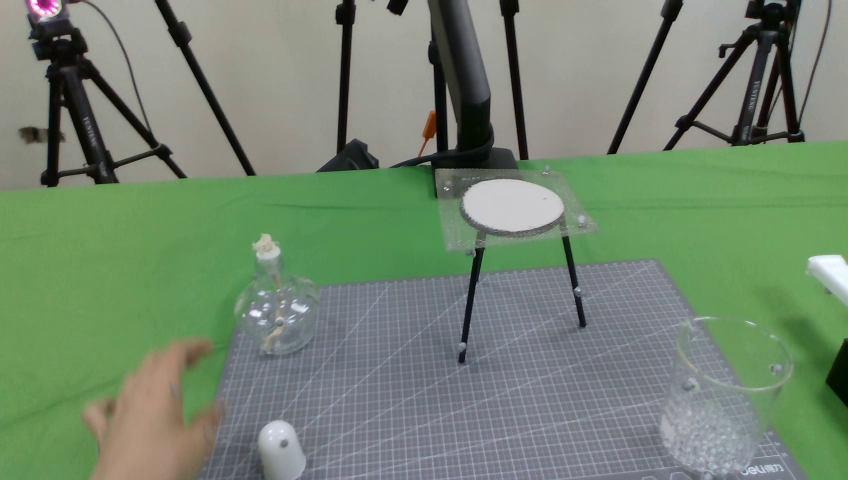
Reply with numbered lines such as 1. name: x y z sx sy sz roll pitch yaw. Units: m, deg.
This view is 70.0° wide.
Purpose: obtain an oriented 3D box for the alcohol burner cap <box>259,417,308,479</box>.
1. alcohol burner cap: -0.107 0.153 0.454 0.034 0.048 0.033 -1 35 1

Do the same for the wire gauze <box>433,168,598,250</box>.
1. wire gauze: 0.071 -0.033 0.514 0.121 0.011 0.124 -3 34 -3

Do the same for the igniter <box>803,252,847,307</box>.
1. igniter: 0.377 0.088 0.453 0.057 0.025 0.274 -4 30 0

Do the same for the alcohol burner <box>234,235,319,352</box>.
1. alcohol burner: -0.137 0.044 0.552 0.078 0.120 0.077 -1 36 1

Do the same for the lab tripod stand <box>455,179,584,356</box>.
1. lab tripod stand: 0.079 0.021 0.555 0.148 0.132 0.147 -1 33 1

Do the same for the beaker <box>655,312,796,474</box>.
1. beaker: 0.211 0.112 0.442 0.074 0.101 0.083 -14 35 -17
